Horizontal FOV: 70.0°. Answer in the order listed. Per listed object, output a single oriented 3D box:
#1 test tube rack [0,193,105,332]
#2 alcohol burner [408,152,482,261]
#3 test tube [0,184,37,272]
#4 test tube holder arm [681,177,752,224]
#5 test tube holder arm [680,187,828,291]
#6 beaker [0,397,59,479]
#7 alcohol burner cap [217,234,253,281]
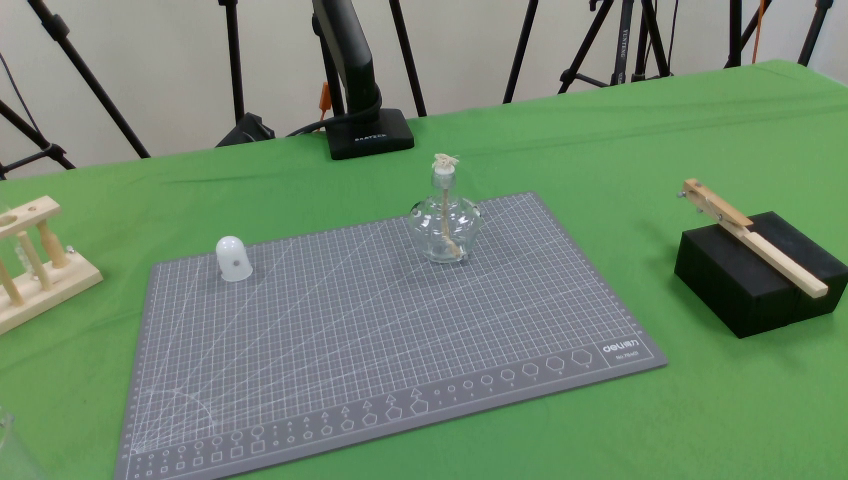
[{"bbox_3d":[-0.452,0.052,0.579,0.066,0.086,0.242,26,46,34],"label":"test tube rack"},{"bbox_3d":[0.021,-0.038,0.625,0.078,0.120,0.077,-1,36,1],"label":"alcohol burner"},{"bbox_3d":[-0.419,-0.031,0.604,0.017,0.151,0.017,-5,32,4],"label":"test tube"},{"bbox_3d":[0.284,-0.037,0.593,0.015,0.010,0.087,-12,37,-12],"label":"test tube holder arm"},{"bbox_3d":[0.297,-0.008,0.561,0.015,0.013,0.176,-12,36,-12],"label":"test tube holder arm"},{"bbox_3d":[-0.292,0.164,0.399,0.084,0.101,0.073,-7,36,-2],"label":"beaker"},{"bbox_3d":[-0.200,0.016,0.635,0.034,0.048,0.033,-3,36,2],"label":"alcohol burner cap"}]
